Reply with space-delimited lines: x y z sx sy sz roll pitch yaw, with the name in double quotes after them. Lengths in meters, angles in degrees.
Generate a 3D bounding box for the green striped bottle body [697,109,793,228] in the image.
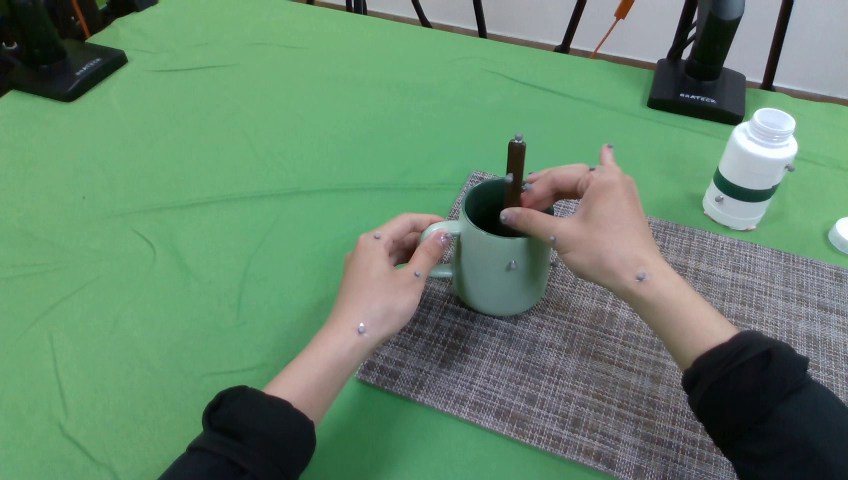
0.333 -0.074 0.625 0.063 0.120 0.062 0 46 0 "green striped bottle body"

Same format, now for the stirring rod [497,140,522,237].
0.069 -0.012 0.507 0.014 0.178 0.006 12 49 14 "stirring rod"

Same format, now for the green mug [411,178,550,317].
0.051 0.010 0.547 0.125 0.106 0.091 -6 46 -6 "green mug"

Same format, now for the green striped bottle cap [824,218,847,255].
0.444 -0.003 0.630 0.044 0.020 0.044 1 42 -1 "green striped bottle cap"
